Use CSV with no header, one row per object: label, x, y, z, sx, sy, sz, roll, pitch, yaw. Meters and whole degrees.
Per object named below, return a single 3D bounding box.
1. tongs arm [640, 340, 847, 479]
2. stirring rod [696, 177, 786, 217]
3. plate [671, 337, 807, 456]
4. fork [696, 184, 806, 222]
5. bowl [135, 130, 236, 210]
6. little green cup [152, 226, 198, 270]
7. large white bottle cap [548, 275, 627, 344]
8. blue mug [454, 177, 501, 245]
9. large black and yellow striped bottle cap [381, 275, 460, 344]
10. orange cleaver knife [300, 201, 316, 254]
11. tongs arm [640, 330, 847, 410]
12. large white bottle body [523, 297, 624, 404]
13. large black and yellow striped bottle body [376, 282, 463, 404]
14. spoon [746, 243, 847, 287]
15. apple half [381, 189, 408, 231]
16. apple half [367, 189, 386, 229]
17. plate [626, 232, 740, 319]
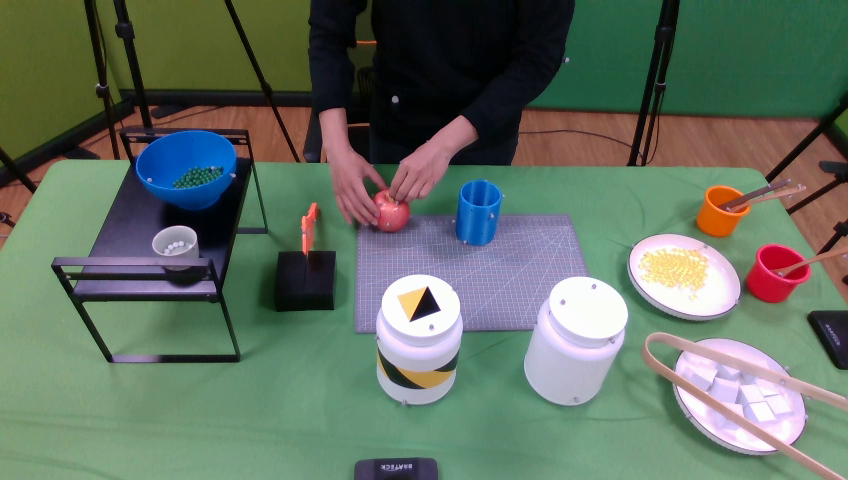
tongs arm,0.500,0.277,0.920,0.386,0.028,0.028,34,59,22
stirring rod,0.648,-0.087,1.244,0.176,0.006,0.014,-26,50,29
plate,0.504,0.254,0.984,0.208,0.039,0.206,2,46,-2
fork,0.658,-0.074,1.230,0.207,0.019,0.028,-24,33,36
bowl,-0.375,-0.102,0.978,0.151,0.077,0.150,3,46,-2
little green cup,-0.364,0.013,0.894,0.061,0.039,0.061,3,46,-3
large white bottle cap,0.240,0.100,0.890,0.115,0.018,0.114,3,47,-3
blue mug,0.106,-0.067,1.208,0.082,0.106,0.116,6,46,1
large black and yellow striped bottle cap,-0.005,0.098,0.875,0.115,0.019,0.114,2,45,-2
orange cleaver knife,-0.221,-0.027,1.160,0.012,0.077,0.210,-1,15,-4
tongs arm,0.543,0.225,0.969,0.384,0.026,0.050,22,53,13
large white bottle body,0.235,0.159,0.952,0.131,0.185,0.130,2,47,-2
large black and yellow striped bottle body,-0.010,0.155,0.937,0.131,0.185,0.130,2,47,-2
spoon,0.702,0.044,1.126,0.194,0.022,0.041,-29,38,30
apple half,-0.058,-0.058,1.207,0.053,0.075,0.080,5,38,-9
apple half,-0.096,-0.060,1.201,0.033,0.081,0.081,4,46,-10
plate,0.489,0.071,1.157,0.209,0.038,0.208,3,46,-3
